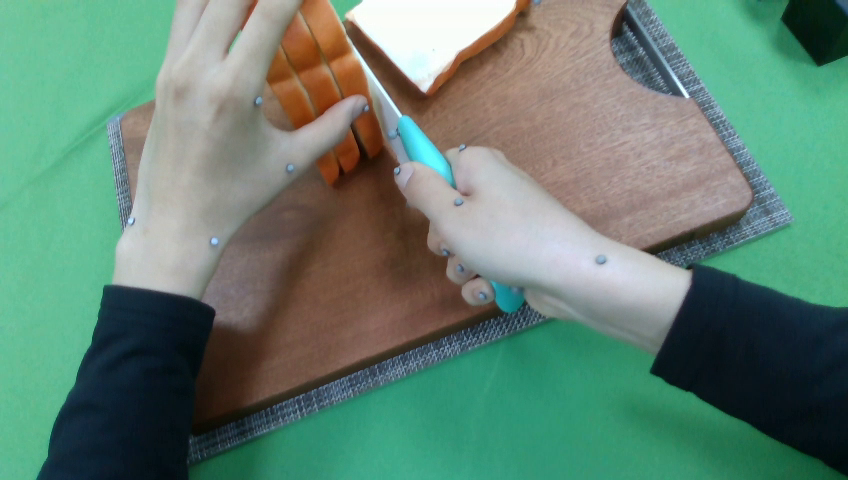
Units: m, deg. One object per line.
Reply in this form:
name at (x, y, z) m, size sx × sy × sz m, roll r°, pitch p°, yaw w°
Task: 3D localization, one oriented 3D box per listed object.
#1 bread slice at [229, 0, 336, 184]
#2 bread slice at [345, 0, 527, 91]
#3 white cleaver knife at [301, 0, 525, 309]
bread slice at (-0.096, -0.115, 0.394) m, size 0.018 × 0.135 × 0.106 m, roll -25°, pitch 60°, yaw -4°
bread slice at (0.019, -0.180, 0.459) m, size 0.131 × 0.019 × 0.104 m, roll -40°, pitch 63°, yaw -2°
white cleaver knife at (-0.018, -0.075, 0.398) m, size 0.021 × 0.066 × 0.284 m, roll -28°, pitch 68°, yaw -9°
